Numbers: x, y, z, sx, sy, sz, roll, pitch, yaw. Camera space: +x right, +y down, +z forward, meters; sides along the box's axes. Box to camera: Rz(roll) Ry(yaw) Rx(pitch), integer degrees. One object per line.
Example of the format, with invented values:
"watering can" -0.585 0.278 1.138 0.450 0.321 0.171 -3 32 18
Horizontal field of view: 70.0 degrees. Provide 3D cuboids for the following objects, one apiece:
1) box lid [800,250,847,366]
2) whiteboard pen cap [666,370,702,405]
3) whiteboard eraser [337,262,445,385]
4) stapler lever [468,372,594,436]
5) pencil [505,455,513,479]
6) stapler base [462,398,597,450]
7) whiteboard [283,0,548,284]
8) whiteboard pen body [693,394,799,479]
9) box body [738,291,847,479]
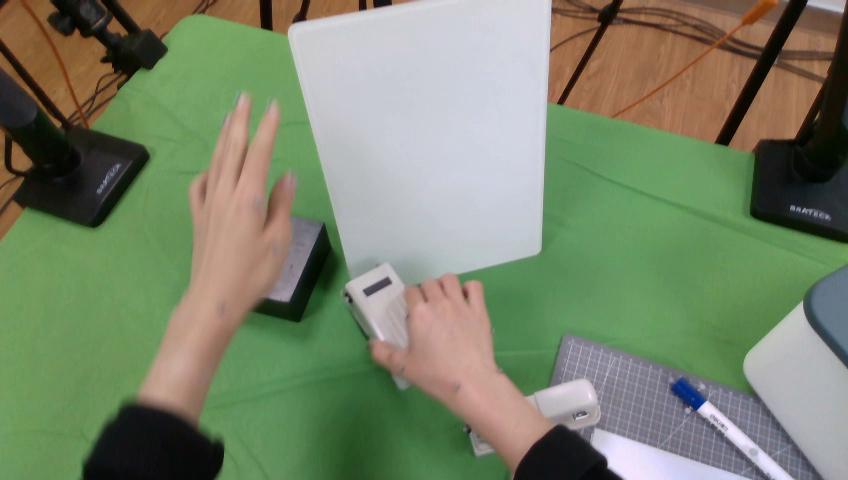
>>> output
"box lid" 0.490 0.127 0.442 0.263 0.015 0.368 -24 64 -14
"whiteboard pen cap" 0.257 0.146 0.598 0.018 0.018 0.033 -36 65 -18
"whiteboard eraser" -0.033 0.079 0.581 0.055 0.042 0.112 -28 74 -25
"stapler lever" 0.100 0.152 0.564 0.118 0.040 0.026 -14 57 -4
"pencil" 0.072 0.287 0.525 0.012 0.012 0.192 4 61 3
"stapler base" 0.103 0.164 0.585 0.130 0.024 0.041 -15 57 -4
"whiteboard" -0.004 -0.120 0.621 0.217 0.308 0.142 -13 42 -7
"whiteboard pen body" 0.295 0.183 0.573 0.017 0.017 0.139 -36 65 -18
"box body" 0.491 0.166 0.505 0.254 0.161 0.360 -25 63 -14
